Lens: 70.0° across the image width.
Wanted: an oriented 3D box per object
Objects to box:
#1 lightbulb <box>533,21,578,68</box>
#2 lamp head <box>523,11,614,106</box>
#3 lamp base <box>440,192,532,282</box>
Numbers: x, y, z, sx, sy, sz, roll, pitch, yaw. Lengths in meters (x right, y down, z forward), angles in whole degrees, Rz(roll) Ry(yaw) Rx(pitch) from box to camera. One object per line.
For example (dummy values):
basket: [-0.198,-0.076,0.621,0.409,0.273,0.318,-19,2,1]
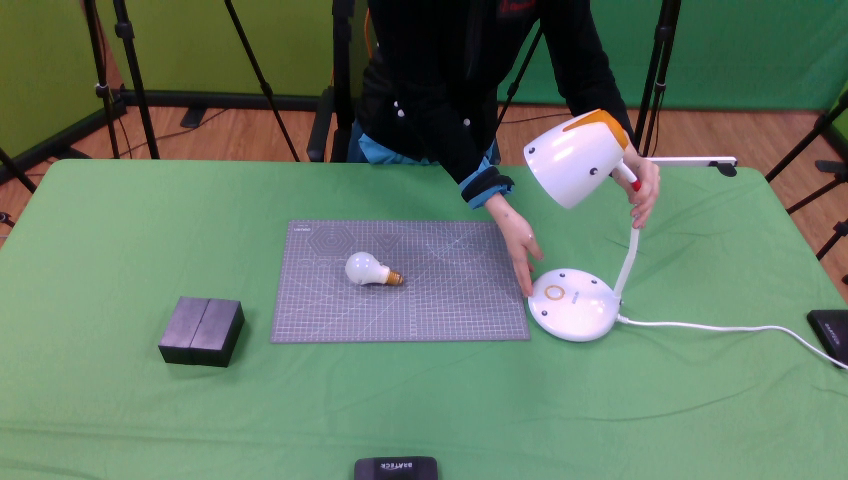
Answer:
lightbulb: [0.203,-0.268,0.874,0.108,0.059,0.059,35,37,-30]
lamp head: [0.219,-0.249,0.887,0.112,0.123,0.111,-25,46,30]
lamp base: [0.127,-0.032,1.123,0.179,0.181,0.159,11,46,2]
